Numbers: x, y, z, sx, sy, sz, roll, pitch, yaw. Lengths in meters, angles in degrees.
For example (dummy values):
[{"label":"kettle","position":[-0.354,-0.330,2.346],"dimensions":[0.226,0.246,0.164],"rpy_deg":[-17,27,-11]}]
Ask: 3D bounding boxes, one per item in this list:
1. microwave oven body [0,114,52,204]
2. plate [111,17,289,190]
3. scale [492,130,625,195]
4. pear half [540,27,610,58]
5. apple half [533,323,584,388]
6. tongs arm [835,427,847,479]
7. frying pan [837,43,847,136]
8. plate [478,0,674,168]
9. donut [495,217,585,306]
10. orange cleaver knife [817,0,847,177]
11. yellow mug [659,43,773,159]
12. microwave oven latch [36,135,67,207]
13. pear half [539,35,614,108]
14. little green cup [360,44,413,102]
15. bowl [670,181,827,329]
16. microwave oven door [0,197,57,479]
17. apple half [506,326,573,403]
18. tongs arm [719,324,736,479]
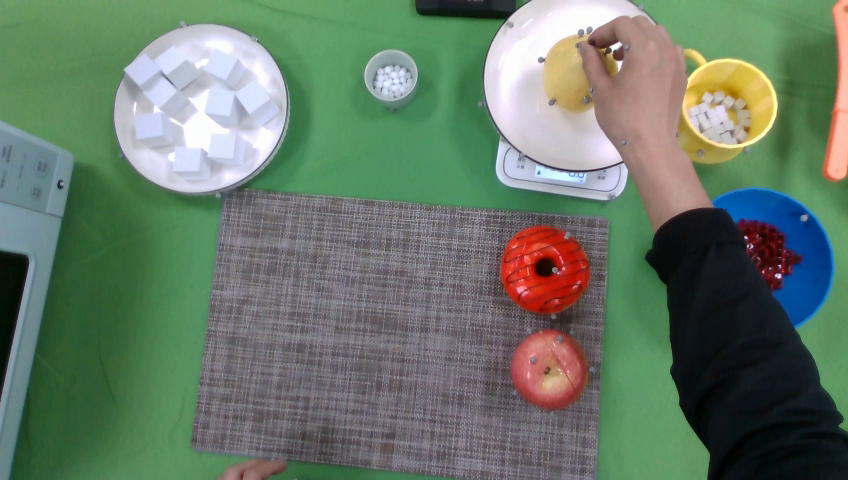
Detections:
[{"label":"microwave oven body","position":[-0.613,0.063,0.593],"dimensions":[0.326,0.261,0.440],"rpy_deg":[7,84,4]},{"label":"plate","position":[-0.260,-0.158,0.716],"dimensions":[0.207,0.039,0.207],"rpy_deg":[0,83,3]},{"label":"scale","position":[0.164,-0.159,0.697],"dimensions":[0.148,0.031,0.200],"rpy_deg":[9,84,4]},{"label":"pear half","position":[0.155,-0.204,0.630],"dimensions":[0.070,0.088,0.031],"rpy_deg":[-9,80,5]},{"label":"apple half","position":[0.147,0.115,0.639],"dimensions":[0.033,0.081,0.081],"rpy_deg":[-33,82,3]},{"label":"tongs arm","position":[0.420,0.295,0.635],"dimensions":[0.028,0.028,0.387],"rpy_deg":[20,85,-3]},{"label":"frying pan","position":[0.626,-0.069,0.625],"dimensions":[0.307,0.103,0.484],"rpy_deg":[-22,75,1]},{"label":"plate","position":[0.163,-0.178,0.666],"dimensions":[0.209,0.038,0.208],"rpy_deg":[0,83,3]},{"label":"donut","position":[0.127,0.024,0.668],"dimensions":[0.099,0.048,0.099],"rpy_deg":[-1,84,6]},{"label":"orange cleaver knife","position":[0.451,-0.166,0.628],"dimensions":[0.077,0.012,0.211],"rpy_deg":[10,84,7]},{"label":"yellow mug","position":[0.312,-0.161,0.672],"dimensions":[0.100,0.064,0.130],"rpy_deg":[-28,82,0]},{"label":"microwave oven latch","position":[-0.436,-0.080,0.697],"dimensions":[0.030,0.029,0.079],"rpy_deg":[9,85,4]},{"label":"pear half","position":[0.157,-0.170,0.615],"dimensions":[0.076,0.110,0.056],"rpy_deg":[-8,81,6]},{"label":"little green cup","position":[-0.041,-0.192,0.708],"dimensions":[0.061,0.039,0.061],"rpy_deg":[0,83,3]},{"label":"bowl","position":[0.330,0.019,0.645],"dimensions":[0.151,0.077,0.151],"rpy_deg":[0,84,3]},{"label":"microwave oven door","position":[-0.475,0.123,0.573],"dimensions":[0.039,0.244,0.355],"rpy_deg":[7,83,5]},{"label":"apple half","position":[0.115,0.137,0.640],"dimensions":[0.053,0.075,0.080],"rpy_deg":[-31,85,2]},{"label":"tongs arm","position":[0.335,0.279,0.636],"dimensions":[0.051,0.026,0.384],"rpy_deg":[5,85,-1]}]
